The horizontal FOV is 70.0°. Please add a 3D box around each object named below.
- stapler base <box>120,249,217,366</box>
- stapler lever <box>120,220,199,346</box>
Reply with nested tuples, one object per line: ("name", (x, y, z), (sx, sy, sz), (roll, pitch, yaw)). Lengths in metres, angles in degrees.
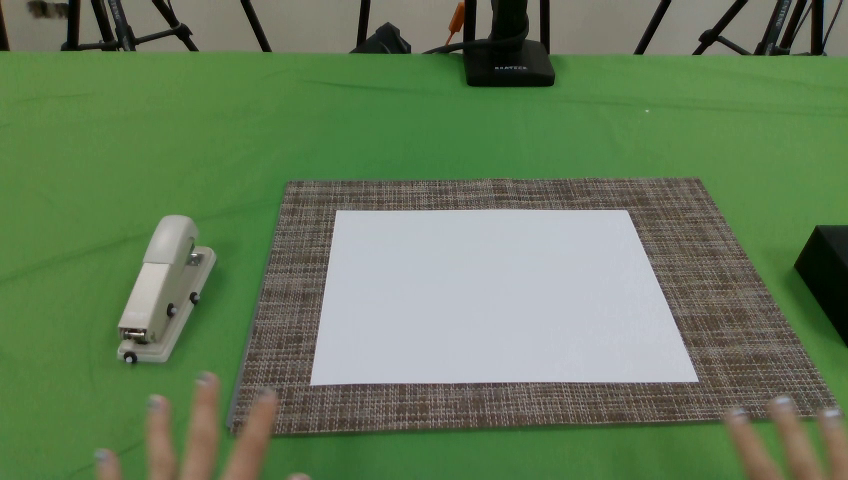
("stapler base", (-0.216, 0.048, 0.516), (0.041, 0.024, 0.129), (2, 43, 4))
("stapler lever", (-0.216, 0.031, 0.498), (0.027, 0.040, 0.117), (2, 44, 4))
